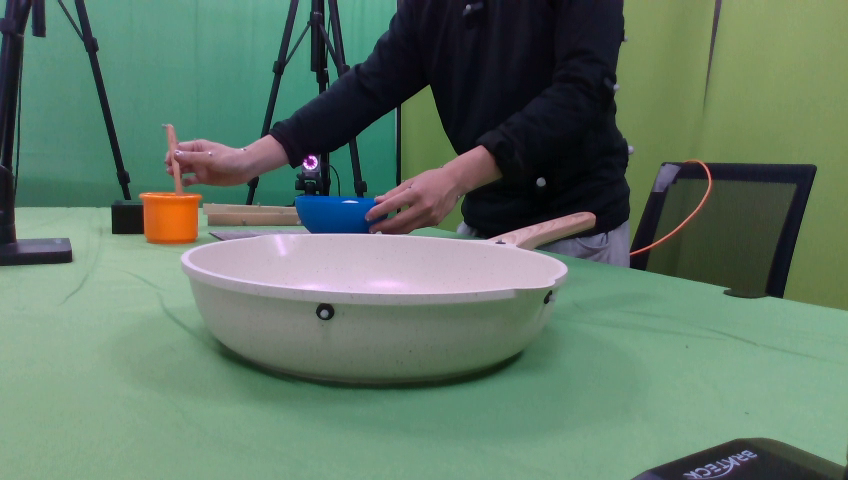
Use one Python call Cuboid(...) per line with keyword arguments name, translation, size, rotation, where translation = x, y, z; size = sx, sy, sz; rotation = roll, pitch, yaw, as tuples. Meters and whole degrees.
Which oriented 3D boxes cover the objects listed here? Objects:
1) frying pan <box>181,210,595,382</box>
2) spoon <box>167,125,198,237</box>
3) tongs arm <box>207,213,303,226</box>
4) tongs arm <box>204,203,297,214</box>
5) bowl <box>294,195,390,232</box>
Cuboid(name="frying pan", translation=(0.034, 0.019, 0.557), size=(0.305, 0.102, 0.490), rotation=(10, 19, 42))
Cuboid(name="spoon", translation=(-0.400, -0.098, 0.985), size=(0.042, 0.193, 0.021), rotation=(-6, -8, -25))
Cuboid(name="tongs arm", translation=(-0.264, -0.046, 1.297), size=(0.390, 0.028, 0.028), rotation=(-2, 7, -32))
Cuboid(name="tongs arm", translation=(-0.295, -0.061, 1.370), size=(0.386, 0.026, 0.050), rotation=(1, 9, -19))
Cuboid(name="bowl", translation=(-0.130, -0.029, 0.956), size=(0.151, 0.077, 0.151), rotation=(2, 7, 0))
